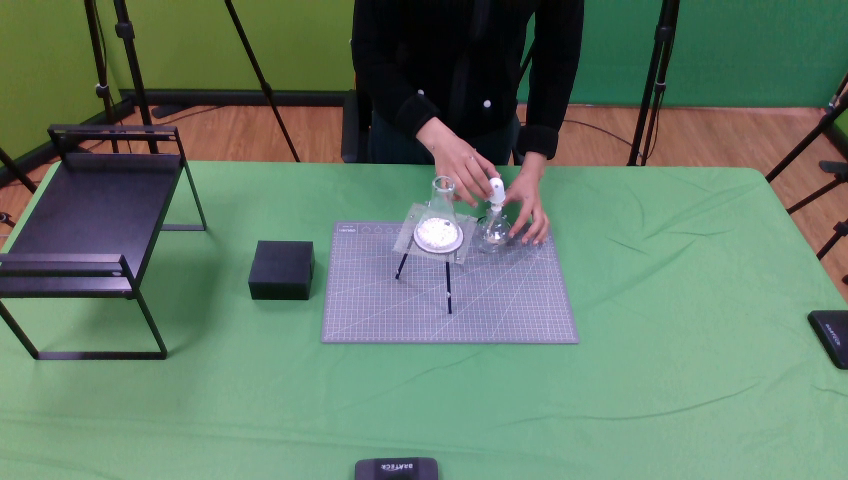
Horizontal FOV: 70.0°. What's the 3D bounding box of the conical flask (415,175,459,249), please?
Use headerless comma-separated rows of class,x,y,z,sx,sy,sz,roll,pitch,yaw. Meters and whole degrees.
conical flask,0.026,-0.049,0.993,0.075,0.122,0.075,3,47,-3

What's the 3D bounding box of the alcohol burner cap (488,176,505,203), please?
alcohol burner cap,0.131,-0.095,1.098,0.034,0.048,0.033,-5,49,6

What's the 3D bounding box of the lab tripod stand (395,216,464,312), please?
lab tripod stand,0.023,0.037,1.084,0.148,0.132,0.147,4,47,-4

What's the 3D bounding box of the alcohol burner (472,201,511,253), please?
alcohol burner,0.133,-0.033,1.173,0.078,0.119,0.077,2,43,-2

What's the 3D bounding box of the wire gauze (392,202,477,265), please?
wire gauze,0.021,-0.011,1.037,0.121,0.011,0.124,13,49,8
